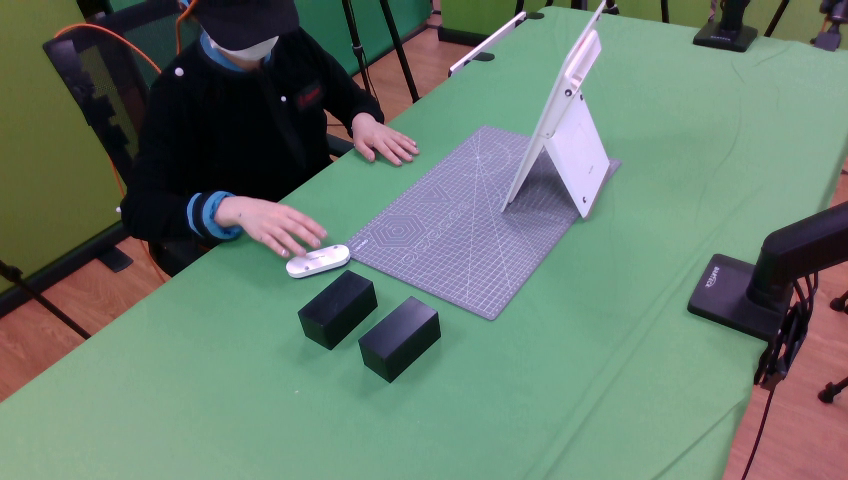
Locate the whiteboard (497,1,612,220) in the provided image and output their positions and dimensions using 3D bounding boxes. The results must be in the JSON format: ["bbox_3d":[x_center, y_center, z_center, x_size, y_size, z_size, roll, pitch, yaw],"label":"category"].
[{"bbox_3d":[0.260,-0.178,0.963,0.143,0.306,0.217,28,49,9],"label":"whiteboard"}]

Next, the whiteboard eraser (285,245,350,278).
[{"bbox_3d":[-0.168,0.033,0.954,0.101,0.019,0.041,-15,41,-9],"label":"whiteboard eraser"}]
